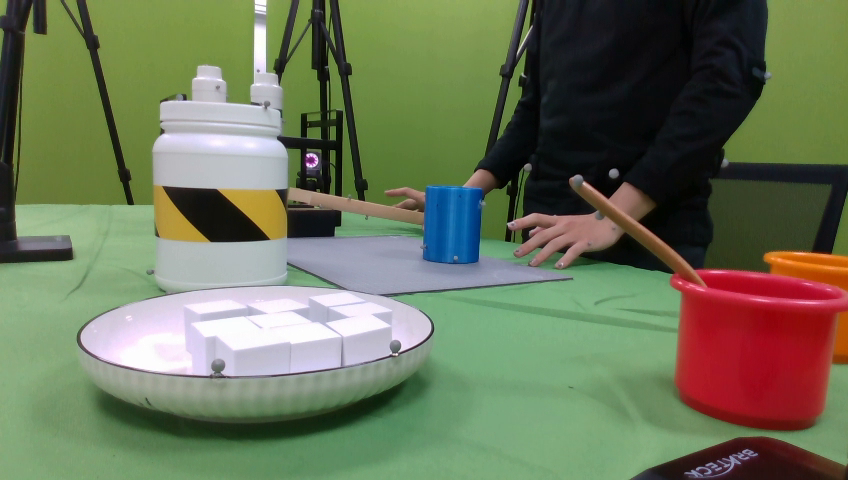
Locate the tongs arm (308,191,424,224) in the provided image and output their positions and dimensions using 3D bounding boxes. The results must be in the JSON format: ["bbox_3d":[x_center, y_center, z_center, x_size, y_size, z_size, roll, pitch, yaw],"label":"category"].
[{"bbox_3d":[-0.048,-0.051,1.171,0.387,0.026,0.050,9,2,-32],"label":"tongs arm"}]

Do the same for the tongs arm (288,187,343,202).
[{"bbox_3d":[-0.084,-0.062,1.244,0.389,0.027,0.028,10,-2,-18],"label":"tongs arm"}]

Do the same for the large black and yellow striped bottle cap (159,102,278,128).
[{"bbox_3d":[-0.207,-0.125,0.615,0.115,0.019,0.115,2,6,0],"label":"large black and yellow striped bottle cap"}]

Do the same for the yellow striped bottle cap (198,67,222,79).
[{"bbox_3d":[-0.411,-0.320,1.163,0.044,0.018,0.044,0,5,0],"label":"yellow striped bottle cap"}]

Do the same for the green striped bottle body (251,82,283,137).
[{"bbox_3d":[-0.317,-0.270,1.220,0.063,0.119,0.063,2,7,0],"label":"green striped bottle body"}]

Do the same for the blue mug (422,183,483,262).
[{"bbox_3d":[0.032,-0.028,0.878,0.083,0.106,0.116,-2,8,-31],"label":"blue mug"}]

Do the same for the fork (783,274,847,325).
[{"bbox_3d":[0.332,0.018,0.444,0.028,0.018,0.207,-1,-36,-15],"label":"fork"}]

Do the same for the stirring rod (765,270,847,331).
[{"bbox_3d":[0.352,0.020,0.484,0.176,0.006,0.014,-40,-7,13],"label":"stirring rod"}]

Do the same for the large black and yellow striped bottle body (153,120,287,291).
[{"bbox_3d":[-0.208,-0.043,0.626,0.131,0.184,0.130,2,7,0],"label":"large black and yellow striped bottle body"}]

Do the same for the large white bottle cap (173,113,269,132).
[{"bbox_3d":[-0.254,-0.146,0.760,0.115,0.018,0.115,1,7,0],"label":"large white bottle cap"}]

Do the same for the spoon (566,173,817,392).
[{"bbox_3d":[0.161,0.024,0.370,0.193,0.021,0.042,47,18,3],"label":"spoon"}]

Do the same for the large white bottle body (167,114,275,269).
[{"bbox_3d":[-0.256,-0.063,0.771,0.131,0.184,0.130,2,7,0],"label":"large white bottle body"}]

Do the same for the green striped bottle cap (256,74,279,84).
[{"bbox_3d":[-0.314,-0.322,1.214,0.044,0.020,0.044,1,8,0],"label":"green striped bottle cap"}]

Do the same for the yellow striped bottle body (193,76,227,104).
[{"bbox_3d":[-0.414,-0.268,1.169,0.063,0.120,0.063,2,7,0],"label":"yellow striped bottle body"}]

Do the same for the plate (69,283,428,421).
[{"bbox_3d":[-0.102,0.066,0.381,0.208,0.039,0.207,2,7,0],"label":"plate"}]
